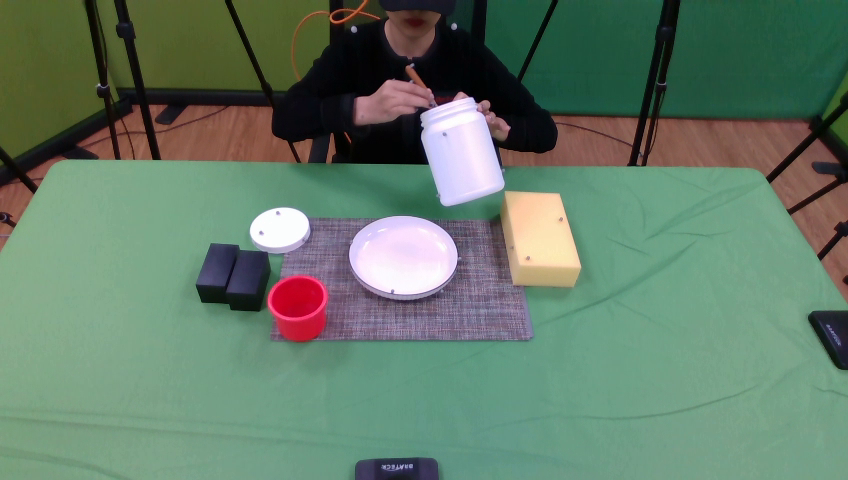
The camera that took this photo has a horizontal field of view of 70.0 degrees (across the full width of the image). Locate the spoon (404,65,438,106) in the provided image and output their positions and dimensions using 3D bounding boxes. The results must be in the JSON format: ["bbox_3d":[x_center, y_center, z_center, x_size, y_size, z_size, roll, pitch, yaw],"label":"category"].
[{"bbox_3d":[0.020,-0.260,1.164,0.041,0.195,0.021,-12,41,38],"label":"spoon"}]

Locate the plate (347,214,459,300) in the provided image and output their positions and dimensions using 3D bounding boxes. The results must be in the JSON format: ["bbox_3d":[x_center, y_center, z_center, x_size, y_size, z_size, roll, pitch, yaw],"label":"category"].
[{"bbox_3d":[-0.040,0.034,1.146,0.209,0.038,0.208,2,47,-2],"label":"plate"}]

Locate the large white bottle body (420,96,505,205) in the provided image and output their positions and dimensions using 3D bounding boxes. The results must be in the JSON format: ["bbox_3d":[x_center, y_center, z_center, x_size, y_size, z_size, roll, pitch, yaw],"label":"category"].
[{"bbox_3d":[0.069,-0.171,1.163,0.130,0.185,0.130,-17,7,2],"label":"large white bottle body"}]

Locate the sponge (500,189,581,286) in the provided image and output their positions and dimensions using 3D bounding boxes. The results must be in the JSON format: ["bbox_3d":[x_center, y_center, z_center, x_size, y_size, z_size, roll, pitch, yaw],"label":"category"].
[{"bbox_3d":[0.224,-0.007,1.192,0.118,0.061,0.205,1,47,-6],"label":"sponge"}]

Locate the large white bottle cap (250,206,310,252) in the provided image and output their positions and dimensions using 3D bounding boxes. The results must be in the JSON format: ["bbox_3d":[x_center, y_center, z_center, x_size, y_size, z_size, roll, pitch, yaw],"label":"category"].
[{"bbox_3d":[-0.284,-0.023,1.197,0.115,0.018,0.114,1,46,0],"label":"large white bottle cap"}]
